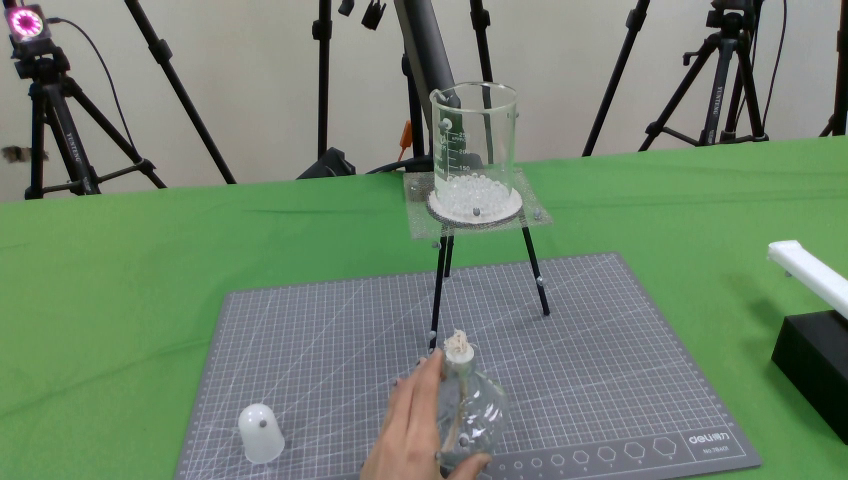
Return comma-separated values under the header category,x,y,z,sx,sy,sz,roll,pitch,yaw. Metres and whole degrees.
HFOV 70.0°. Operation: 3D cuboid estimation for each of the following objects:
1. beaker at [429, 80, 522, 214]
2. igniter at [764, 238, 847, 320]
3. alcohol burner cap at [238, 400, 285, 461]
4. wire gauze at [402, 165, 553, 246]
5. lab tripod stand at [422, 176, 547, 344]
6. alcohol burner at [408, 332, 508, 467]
category,x,y,z,sx,sy,sz,roll,pitch,yaw
beaker,0.041,-0.080,0.526,0.074,0.101,0.083,-25,39,-32
igniter,0.374,0.071,0.493,0.057,0.025,0.274,-7,29,-5
alcohol burner cap,-0.131,0.148,0.482,0.034,0.048,0.033,-2,33,1
wire gauze,0.043,-0.039,0.552,0.121,0.011,0.124,-6,35,-3
lab tripod stand,0.051,0.014,0.590,0.148,0.132,0.147,-1,31,1
alcohol burner,0.025,0.114,0.457,0.078,0.120,0.077,-1,35,1
